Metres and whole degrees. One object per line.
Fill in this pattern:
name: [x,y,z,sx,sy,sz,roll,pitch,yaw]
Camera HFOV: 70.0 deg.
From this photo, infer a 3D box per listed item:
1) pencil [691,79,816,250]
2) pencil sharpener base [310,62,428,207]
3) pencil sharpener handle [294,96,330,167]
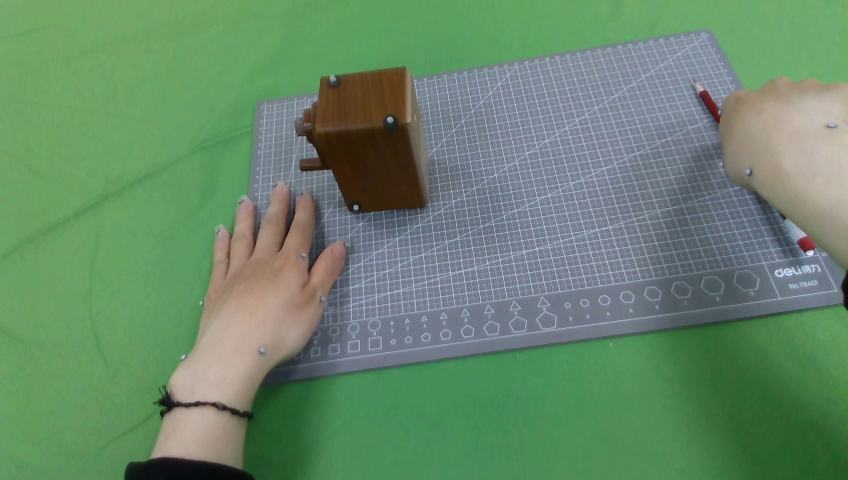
pencil: [0.259,-0.070,0.490,0.012,0.012,0.192,-13,54,0]
pencil sharpener base: [-0.041,-0.080,0.485,0.076,0.108,0.061,-5,58,6]
pencil sharpener handle: [-0.093,-0.082,0.479,0.030,0.068,0.035,-5,57,6]
